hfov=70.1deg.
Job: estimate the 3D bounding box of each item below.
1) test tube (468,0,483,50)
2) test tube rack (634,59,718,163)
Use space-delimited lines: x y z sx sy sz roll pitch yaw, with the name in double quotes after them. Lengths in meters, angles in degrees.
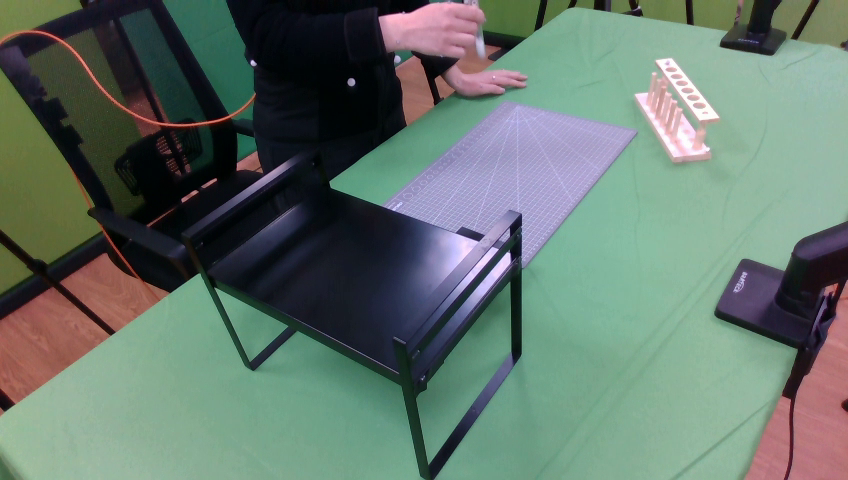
0.081 -0.345 0.953 0.017 0.151 0.017 -2 75 8 "test tube"
0.470 -0.250 1.148 0.067 0.085 0.241 -6 40 3 "test tube rack"
